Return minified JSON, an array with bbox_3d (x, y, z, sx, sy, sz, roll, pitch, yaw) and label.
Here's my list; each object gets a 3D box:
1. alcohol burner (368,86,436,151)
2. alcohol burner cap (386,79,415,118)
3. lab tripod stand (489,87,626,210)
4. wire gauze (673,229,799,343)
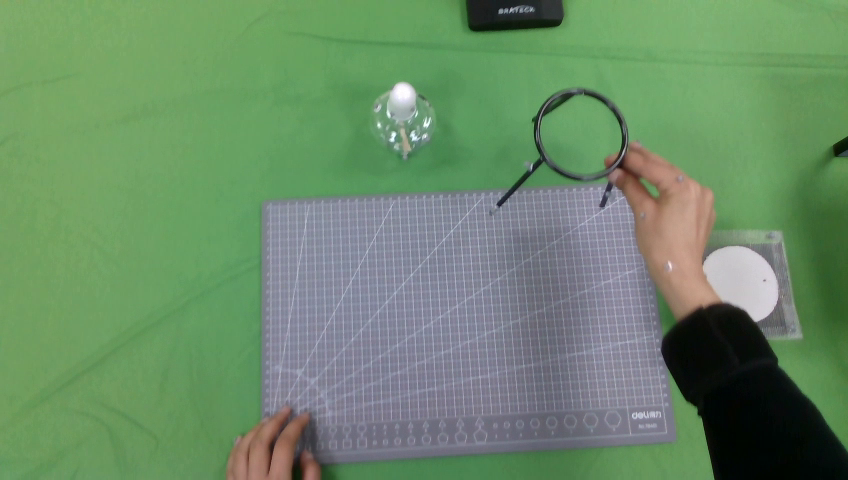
[{"bbox_3d":[-0.024,-0.146,0.681,0.078,0.119,0.077,1,78,-3],"label":"alcohol burner"},{"bbox_3d":[-0.024,-0.153,0.647,0.034,0.048,0.034,1,82,-5],"label":"alcohol burner cap"},{"bbox_3d":[0.141,-0.085,0.617,0.149,0.132,0.147,2,77,-7],"label":"lab tripod stand"},{"bbox_3d":[0.332,0.048,0.651,0.121,0.011,0.124,0,77,1],"label":"wire gauze"}]
